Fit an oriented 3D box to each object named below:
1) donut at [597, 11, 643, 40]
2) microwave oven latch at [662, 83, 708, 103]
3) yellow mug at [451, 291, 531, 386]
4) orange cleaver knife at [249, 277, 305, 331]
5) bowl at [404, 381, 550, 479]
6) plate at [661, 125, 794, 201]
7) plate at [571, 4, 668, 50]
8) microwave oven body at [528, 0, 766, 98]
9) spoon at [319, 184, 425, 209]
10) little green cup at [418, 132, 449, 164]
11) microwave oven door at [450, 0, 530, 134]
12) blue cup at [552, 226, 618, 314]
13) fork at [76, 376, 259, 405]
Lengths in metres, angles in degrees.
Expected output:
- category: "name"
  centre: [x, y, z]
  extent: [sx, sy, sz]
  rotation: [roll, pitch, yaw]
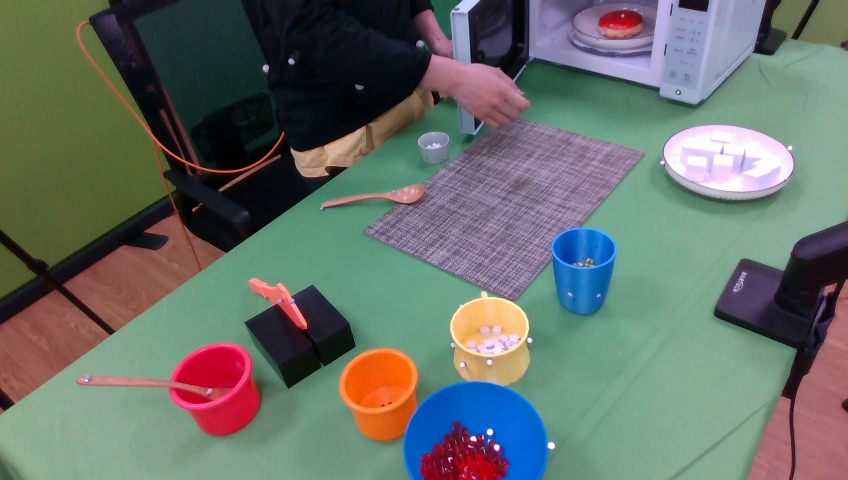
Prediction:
- category: "donut"
  centre: [0.435, -0.479, 1.347]
  extent: [0.099, 0.048, 0.098]
  rotation: [-4, 39, 4]
- category: "microwave oven latch"
  centre: [0.518, -0.296, 1.204]
  extent: [0.078, 0.029, 0.030]
  rotation: [28, 52, 35]
- category: "yellow mug"
  centre: [0.085, 0.120, 0.786]
  extent: [0.100, 0.064, 0.130]
  rotation: [-7, 39, 1]
- category: "orange cleaver knife"
  centre: [-0.210, 0.088, 0.856]
  extent: [0.012, 0.077, 0.210]
  rotation: [-28, 15, -25]
- category: "bowl"
  centre: [0.058, 0.235, 0.645]
  extent: [0.151, 0.077, 0.150]
  rotation: [-4, 39, 4]
- category: "plate"
  centre: [0.513, -0.128, 1.035]
  extent: [0.207, 0.039, 0.206]
  rotation: [-4, 40, 4]
- category: "plate"
  centre: [0.435, -0.474, 1.358]
  extent: [0.209, 0.038, 0.208]
  rotation: [-4, 41, 4]
- category: "microwave oven body"
  centre: [0.472, -0.513, 1.317]
  extent: [0.438, 0.261, 0.327]
  rotation: [26, 51, 34]
- category: "spoon"
  centre: [-0.094, -0.076, 1.074]
  extent: [0.193, 0.022, 0.041]
  rotation: [-5, 57, 5]
- category: "little green cup"
  centre: [0.019, -0.177, 1.168]
  extent: [0.061, 0.039, 0.061]
  rotation: [-3, 42, 3]
- category: "microwave oven door"
  centre: [0.146, -0.412, 1.240]
  extent: [0.039, 0.245, 0.356]
  rotation: [13, 44, 23]
- category: "blue cup"
  centre: [0.218, 0.047, 0.826]
  extent: [0.092, 0.100, 0.092]
  rotation: [-6, 40, 5]
- category: "fork"
  centre: [-0.295, 0.176, 0.716]
  extent: [0.209, 0.018, 0.028]
  rotation: [20, 26, -37]
